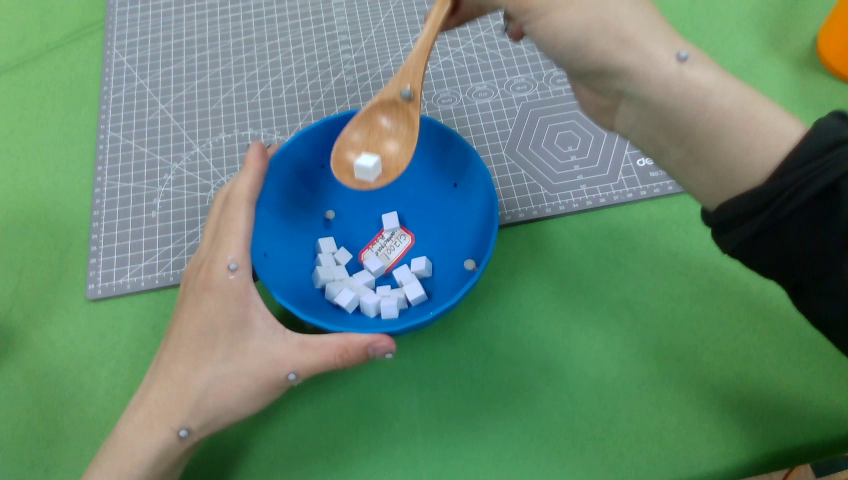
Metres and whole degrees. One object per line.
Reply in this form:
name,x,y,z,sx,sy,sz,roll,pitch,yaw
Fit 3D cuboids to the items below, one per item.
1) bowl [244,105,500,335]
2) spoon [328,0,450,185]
bowl,-0.029,-0.003,0.389,0.151,0.077,0.150,-1,66,2
spoon,0.006,-0.114,0.309,0.041,0.022,0.193,26,88,17
